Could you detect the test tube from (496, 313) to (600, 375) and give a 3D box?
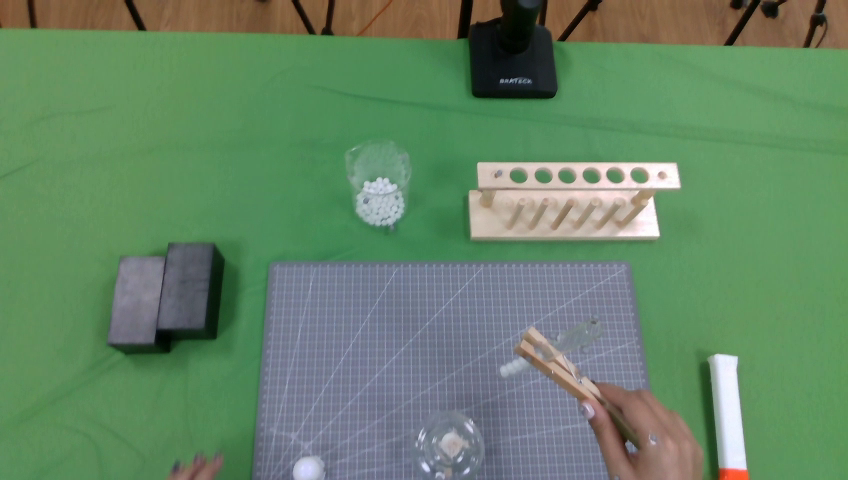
[{"bbox_3d":[0.098,0.091,0.509,0.017,0.150,0.017,9,63,-18],"label":"test tube"}]

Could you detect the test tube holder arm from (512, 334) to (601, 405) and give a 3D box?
[{"bbox_3d":[0.112,0.110,0.510,0.088,0.015,0.010,37,59,-3],"label":"test tube holder arm"}]

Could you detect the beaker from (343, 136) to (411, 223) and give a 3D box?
[{"bbox_3d":[-0.058,-0.070,0.733,0.084,0.101,0.073,26,69,7],"label":"beaker"}]

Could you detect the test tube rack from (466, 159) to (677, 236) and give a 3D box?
[{"bbox_3d":[0.179,-0.051,0.751,0.243,0.085,0.066,0,68,-4],"label":"test tube rack"}]

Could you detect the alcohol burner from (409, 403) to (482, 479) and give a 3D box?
[{"bbox_3d":[0.024,0.205,0.621,0.078,0.120,0.077,2,66,-4],"label":"alcohol burner"}]

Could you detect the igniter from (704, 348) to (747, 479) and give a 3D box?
[{"bbox_3d":[0.341,0.259,0.674,0.057,0.025,0.274,10,68,-11],"label":"igniter"}]

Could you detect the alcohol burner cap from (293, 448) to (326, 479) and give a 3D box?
[{"bbox_3d":[-0.121,0.235,0.637,0.034,0.048,0.033,2,69,-4],"label":"alcohol burner cap"}]

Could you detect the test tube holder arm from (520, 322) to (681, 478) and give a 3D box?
[{"bbox_3d":[0.149,0.136,0.513,0.178,0.015,0.013,43,59,1],"label":"test tube holder arm"}]
